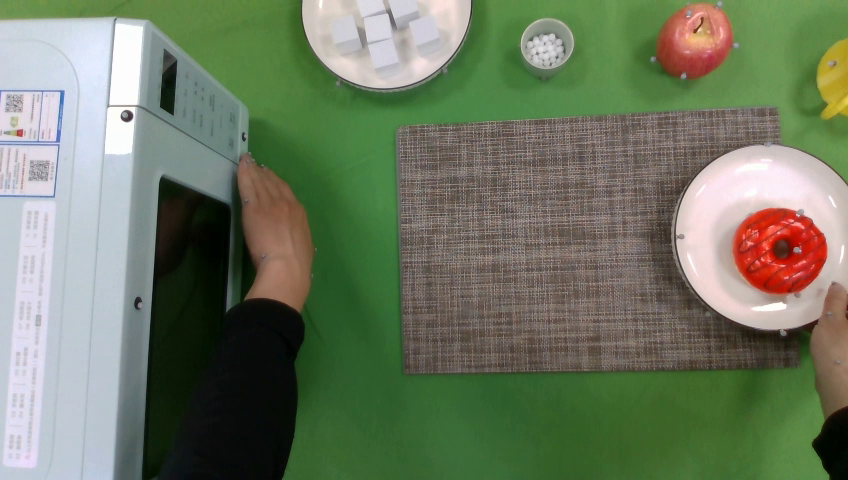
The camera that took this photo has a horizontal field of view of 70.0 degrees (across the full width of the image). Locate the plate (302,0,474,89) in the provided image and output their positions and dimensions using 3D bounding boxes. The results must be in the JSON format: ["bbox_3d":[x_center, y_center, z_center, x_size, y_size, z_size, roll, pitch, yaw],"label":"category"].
[{"bbox_3d":[-0.043,-0.282,0.742,0.207,0.039,0.207,0,85,4],"label":"plate"}]

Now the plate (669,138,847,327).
[{"bbox_3d":[0.379,-0.008,0.681,0.209,0.038,0.208,0,85,5],"label":"plate"}]

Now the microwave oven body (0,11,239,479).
[{"bbox_3d":[-0.390,0.031,0.626,0.326,0.261,0.440,1,86,4],"label":"microwave oven body"}]

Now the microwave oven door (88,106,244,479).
[{"bbox_3d":[-0.245,0.075,0.605,0.039,0.244,0.355,0,85,5],"label":"microwave oven door"}]

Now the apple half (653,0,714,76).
[{"bbox_3d":[0.292,-0.227,0.694,0.053,0.075,0.080,-11,88,8],"label":"apple half"}]

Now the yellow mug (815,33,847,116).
[{"bbox_3d":[0.496,-0.187,0.677,0.131,0.064,0.099,-44,83,1],"label":"yellow mug"}]

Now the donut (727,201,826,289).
[{"bbox_3d":[0.387,0.006,0.668,0.099,0.048,0.099,0,86,6],"label":"donut"}]

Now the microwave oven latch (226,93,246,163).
[{"bbox_3d":[-0.230,-0.133,0.724,0.030,0.029,0.079,2,86,4],"label":"microwave oven latch"}]

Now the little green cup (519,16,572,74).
[{"bbox_3d":[0.143,-0.230,0.723,0.061,0.039,0.061,0,85,5],"label":"little green cup"}]

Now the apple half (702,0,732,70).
[{"bbox_3d":[0.330,-0.235,0.690,0.033,0.081,0.081,-11,84,9],"label":"apple half"}]
